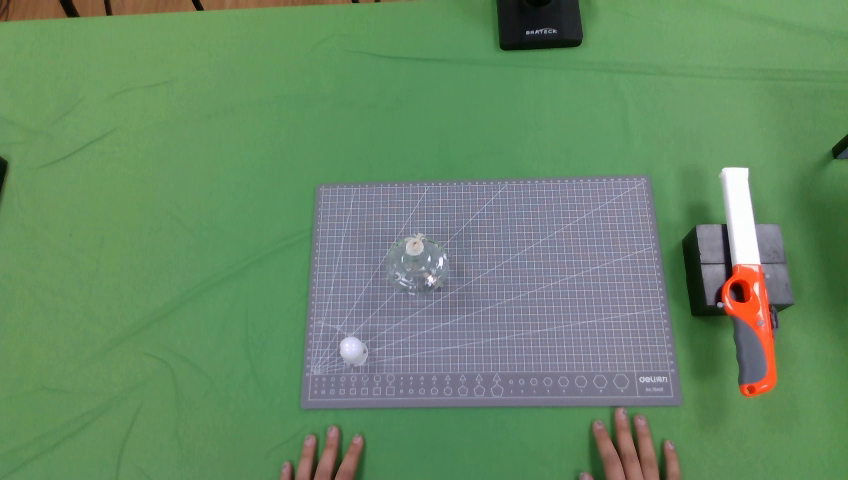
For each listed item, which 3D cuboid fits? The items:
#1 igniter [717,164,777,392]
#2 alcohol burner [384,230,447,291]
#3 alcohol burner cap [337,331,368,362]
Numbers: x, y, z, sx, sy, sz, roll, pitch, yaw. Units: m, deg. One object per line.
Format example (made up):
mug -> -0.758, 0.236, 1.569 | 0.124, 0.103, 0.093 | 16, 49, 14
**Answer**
igniter -> 0.368, 0.037, 0.699 | 0.057, 0.025, 0.274 | 2, 68, 7
alcohol burner -> -0.011, 0.019, 0.724 | 0.078, 0.120, 0.077 | 0, 69, 1
alcohol burner cap -> -0.088, 0.126, 0.727 | 0.034, 0.048, 0.033 | -1, 69, 4
